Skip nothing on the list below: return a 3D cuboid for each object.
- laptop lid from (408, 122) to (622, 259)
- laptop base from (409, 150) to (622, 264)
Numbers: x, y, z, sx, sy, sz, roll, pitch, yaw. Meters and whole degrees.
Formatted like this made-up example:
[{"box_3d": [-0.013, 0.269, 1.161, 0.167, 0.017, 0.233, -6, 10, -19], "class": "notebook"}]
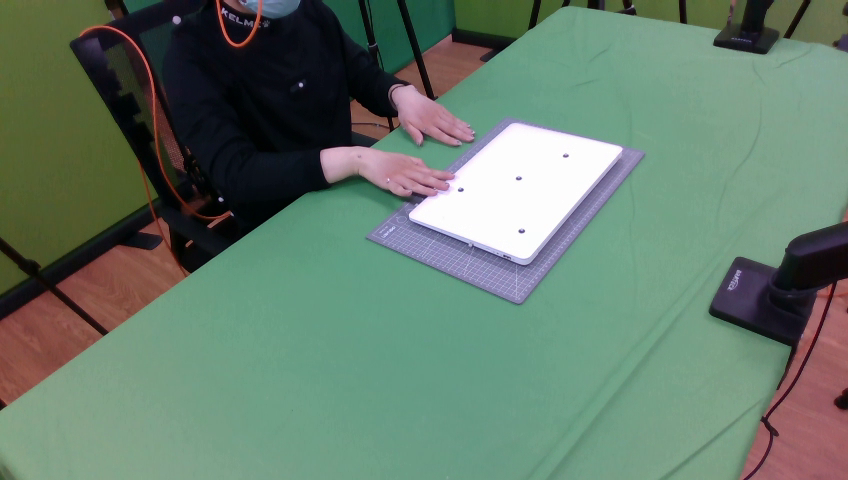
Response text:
[{"box_3d": [0.165, -0.105, 1.051, 0.240, 0.013, 0.358, 22, 48, 33], "class": "laptop lid"}, {"box_3d": [0.168, -0.095, 1.057, 0.233, 0.023, 0.355, 20, 47, 33], "class": "laptop base"}]
